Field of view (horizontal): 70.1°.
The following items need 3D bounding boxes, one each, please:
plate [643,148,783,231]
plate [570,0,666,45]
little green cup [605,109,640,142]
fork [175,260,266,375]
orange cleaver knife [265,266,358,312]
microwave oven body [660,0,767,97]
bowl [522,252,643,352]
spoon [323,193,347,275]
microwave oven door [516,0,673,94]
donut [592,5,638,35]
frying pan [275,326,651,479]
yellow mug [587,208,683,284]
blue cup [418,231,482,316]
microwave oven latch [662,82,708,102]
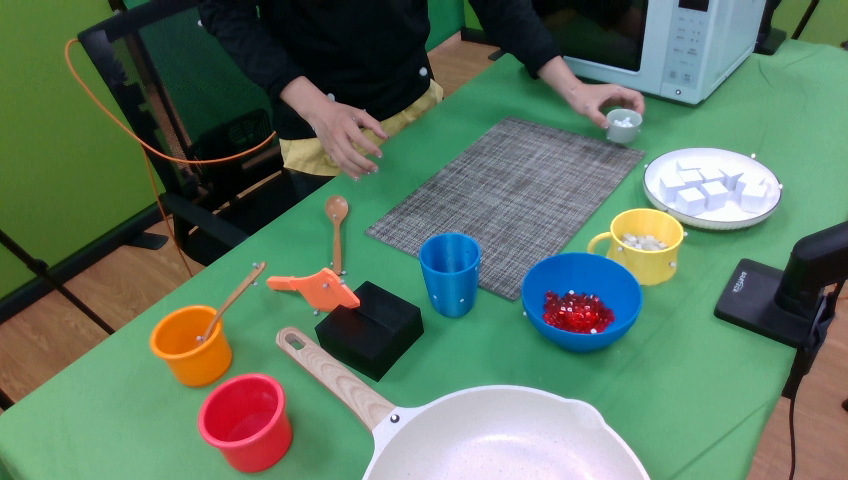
[{"bbox_3d":[0.464,-0.080,0.986,0.207,0.039,0.206,-4,40,4],"label":"plate"},{"bbox_3d":[0.435,-0.489,1.368,0.209,0.038,0.208,-5,39,5],"label":"plate"},{"bbox_3d":[0.361,-0.209,1.109,0.061,0.039,0.061,-2,41,2],"label":"little green cup"},{"bbox_3d":[-0.268,0.102,0.792,0.207,0.019,0.028,-51,41,16],"label":"fork"},{"bbox_3d":[-0.164,0.073,0.864,0.210,0.077,0.012,-6,31,50],"label":"orange cleaver knife"},{"bbox_3d":[0.473,-0.516,1.314,0.438,0.261,0.327,26,51,34],"label":"microwave oven body"},{"bbox_3d":[0.204,0.093,0.792,0.151,0.077,0.150,-4,40,4],"label":"bowl"},{"bbox_3d":[-0.148,-0.014,1.008,0.042,0.022,0.192,1,40,-9],"label":"spoon"},{"bbox_3d":[0.344,-0.458,1.257,0.353,0.245,0.039,26,52,33],"label":"microwave oven door"},{"bbox_3d":[0.428,-0.492,1.352,0.099,0.048,0.098,-6,42,6],"label":"donut"},{"bbox_3d":[0.004,0.229,0.641,0.484,0.103,0.308,34,54,28],"label":"frying pan"},{"bbox_3d":[0.305,0.009,0.884,0.131,0.064,0.099,-4,41,5],"label":"yellow mug"},{"bbox_3d":[0.040,0.053,0.843,0.092,0.100,0.092,-4,43,4],"label":"blue cup"},{"bbox_3d":[0.517,-0.298,1.202,0.078,0.029,0.030,27,52,34],"label":"microwave oven latch"}]
